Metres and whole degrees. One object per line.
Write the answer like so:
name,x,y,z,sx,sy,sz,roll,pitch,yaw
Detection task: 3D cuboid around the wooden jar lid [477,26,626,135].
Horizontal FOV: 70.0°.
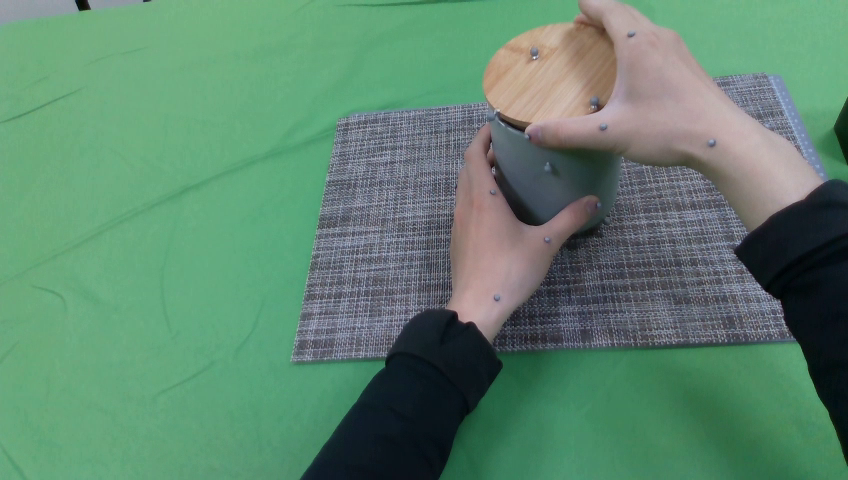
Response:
wooden jar lid,0.094,-0.118,0.452,0.108,0.021,0.107,-8,56,11

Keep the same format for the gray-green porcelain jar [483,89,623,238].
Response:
gray-green porcelain jar,0.106,-0.072,0.505,0.106,0.128,0.105,-6,51,7
